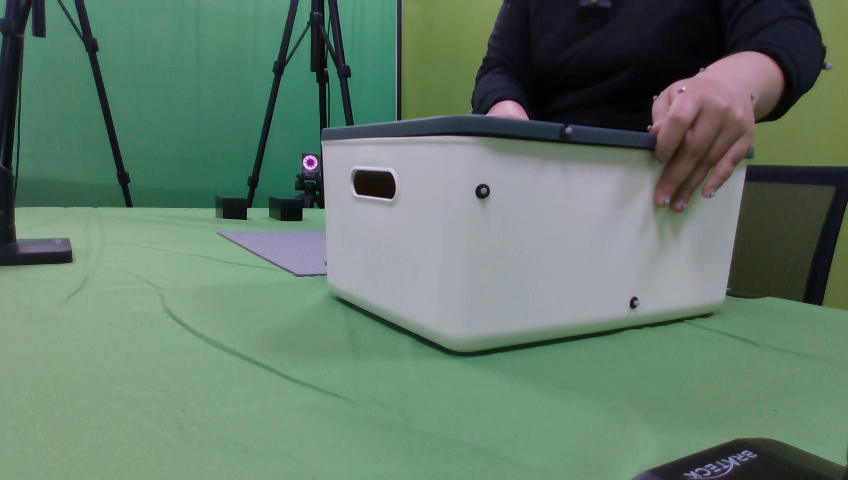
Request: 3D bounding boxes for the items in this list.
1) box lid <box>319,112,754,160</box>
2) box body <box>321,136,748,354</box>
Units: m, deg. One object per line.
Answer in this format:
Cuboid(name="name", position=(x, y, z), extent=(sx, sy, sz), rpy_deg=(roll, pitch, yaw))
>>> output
Cuboid(name="box lid", position=(0.108, -0.091, 0.593), extent=(0.373, 0.015, 0.262), rpy_deg=(-1, 6, -33))
Cuboid(name="box body", position=(0.105, -0.012, 0.604), extent=(0.366, 0.160, 0.253), rpy_deg=(-2, 8, -33))
